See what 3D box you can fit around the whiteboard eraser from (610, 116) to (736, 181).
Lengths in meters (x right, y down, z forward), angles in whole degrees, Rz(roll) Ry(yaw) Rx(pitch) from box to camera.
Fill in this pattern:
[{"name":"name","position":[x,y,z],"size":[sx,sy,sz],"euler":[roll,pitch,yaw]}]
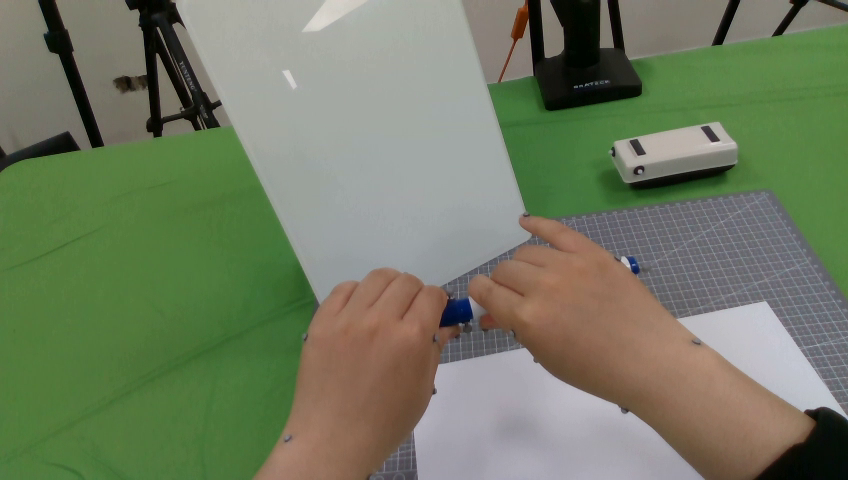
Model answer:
[{"name":"whiteboard eraser","position":[0.255,-0.092,0.624],"size":[0.112,0.042,0.055],"euler":[-9,43,4]}]

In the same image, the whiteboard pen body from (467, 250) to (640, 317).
[{"name":"whiteboard pen body","position":[0.073,0.031,0.401],"size":[0.141,0.017,0.017],"euler":[-16,41,0]}]

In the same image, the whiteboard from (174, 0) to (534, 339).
[{"name":"whiteboard","position":[-0.059,-0.107,0.572],"size":[0.217,0.307,0.142],"euler":[-27,22,-14]}]

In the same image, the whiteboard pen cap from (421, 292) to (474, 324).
[{"name":"whiteboard pen cap","position":[0.016,0.045,0.398],"size":[0.033,0.018,0.018],"euler":[-11,41,-1]}]
